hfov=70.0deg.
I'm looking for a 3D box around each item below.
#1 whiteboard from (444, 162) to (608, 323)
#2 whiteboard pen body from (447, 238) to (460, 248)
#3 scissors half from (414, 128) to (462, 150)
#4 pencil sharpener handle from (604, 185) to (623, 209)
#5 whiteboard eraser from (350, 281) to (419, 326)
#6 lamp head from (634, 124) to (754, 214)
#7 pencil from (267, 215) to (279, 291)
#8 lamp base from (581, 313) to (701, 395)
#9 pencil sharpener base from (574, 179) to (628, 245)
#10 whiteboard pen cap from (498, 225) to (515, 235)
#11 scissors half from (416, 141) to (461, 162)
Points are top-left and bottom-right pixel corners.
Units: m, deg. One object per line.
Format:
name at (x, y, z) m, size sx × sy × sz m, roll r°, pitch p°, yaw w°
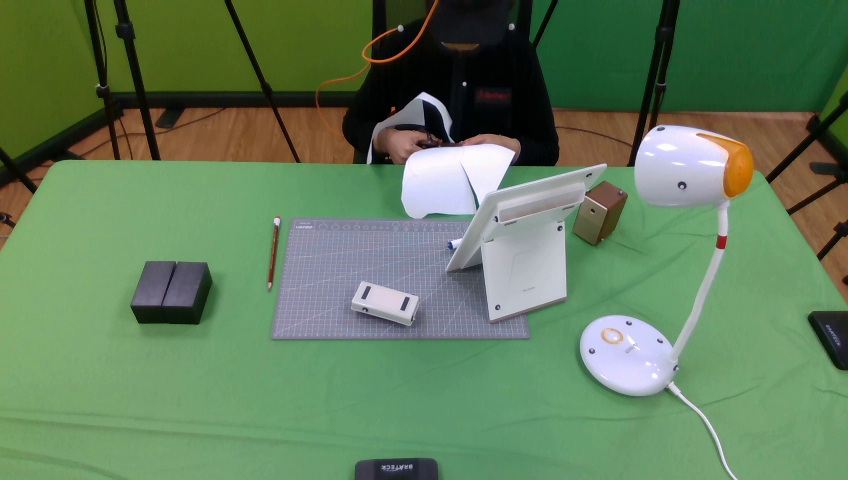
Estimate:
whiteboard at (0.186, 0.025, 1.029) m, size 0.217 × 0.306 × 0.143 m, roll -14°, pitch 68°, yaw -18°
whiteboard pen body at (0.112, -0.006, 1.203) m, size 0.141 × 0.017 × 0.017 m, roll -14°, pitch 49°, yaw -18°
scissors half at (0.030, -0.223, 1.359) m, size 0.013 × 0.040 × 0.174 m, roll -20°, pitch 29°, yaw -30°
pencil sharpener handle at (0.390, -0.091, 1.235) m, size 0.030 × 0.068 × 0.036 m, roll -34°, pitch 69°, yaw -31°
whiteboard eraser at (-0.069, 0.113, 1.065) m, size 0.112 × 0.042 × 0.055 m, roll 14°, pitch 46°, yaw 9°
lamp head at (0.351, -0.089, 0.775) m, size 0.112 × 0.113 × 0.122 m, roll -30°, pitch 30°, yaw -28°
pencil at (-0.291, 0.022, 1.164) m, size 0.012 × 0.012 × 0.192 m, roll -2°, pitch 48°, yaw -6°
lamp base at (0.361, 0.144, 0.972) m, size 0.178 × 0.181 × 0.160 m, roll 34°, pitch 53°, yaw 23°
pencil sharpener base at (0.355, -0.057, 1.217) m, size 0.076 × 0.107 × 0.061 m, roll -33°, pitch 56°, yaw -31°
whiteboard pen cap at (0.166, -0.019, 1.222) m, size 0.033 × 0.018 × 0.018 m, roll -14°, pitch 49°, yaw -19°
scissors half at (0.032, -0.203, 1.364) m, size 0.013 × 0.040 × 0.174 m, roll -14°, pitch 6°, yaw -32°
